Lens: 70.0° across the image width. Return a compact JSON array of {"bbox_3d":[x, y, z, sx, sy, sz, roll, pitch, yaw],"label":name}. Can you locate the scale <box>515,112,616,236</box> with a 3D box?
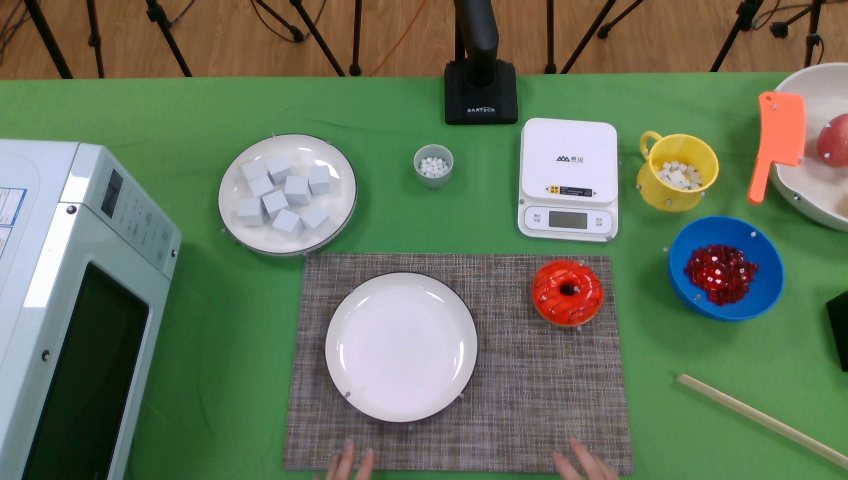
[{"bbox_3d":[0.219,-0.104,0.931,0.148,0.032,0.199,4,67,4],"label":"scale"}]

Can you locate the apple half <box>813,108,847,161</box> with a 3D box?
[{"bbox_3d":[0.613,-0.155,0.916,0.033,0.082,0.080,-7,66,-6],"label":"apple half"}]

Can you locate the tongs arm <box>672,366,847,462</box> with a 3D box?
[{"bbox_3d":[0.499,0.263,0.767,0.386,0.028,0.028,29,63,13],"label":"tongs arm"}]

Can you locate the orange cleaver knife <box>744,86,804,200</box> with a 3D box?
[{"bbox_3d":[0.512,-0.145,0.884,0.077,0.012,0.210,18,69,9],"label":"orange cleaver knife"}]

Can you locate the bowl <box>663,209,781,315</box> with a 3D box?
[{"bbox_3d":[0.398,0.040,0.840,0.151,0.077,0.150,0,67,1],"label":"bowl"}]

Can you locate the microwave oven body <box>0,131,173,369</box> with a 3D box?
[{"bbox_3d":[-0.536,0.120,0.719,0.326,0.262,0.438,3,67,2],"label":"microwave oven body"}]

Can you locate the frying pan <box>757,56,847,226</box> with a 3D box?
[{"bbox_3d":[0.689,-0.065,0.865,0.307,0.103,0.483,-25,60,-8],"label":"frying pan"}]

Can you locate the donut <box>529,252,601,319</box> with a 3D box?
[{"bbox_3d":[0.196,0.063,0.848,0.099,0.048,0.098,-1,67,3],"label":"donut"}]

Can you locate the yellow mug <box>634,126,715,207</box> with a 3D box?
[{"bbox_3d":[0.366,-0.121,0.916,0.100,0.064,0.130,-30,68,-11],"label":"yellow mug"}]

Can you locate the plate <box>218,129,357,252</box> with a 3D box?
[{"bbox_3d":[-0.205,-0.074,0.922,0.208,0.039,0.206,0,66,1],"label":"plate"}]

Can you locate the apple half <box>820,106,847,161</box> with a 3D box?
[{"bbox_3d":[0.651,-0.160,0.919,0.053,0.075,0.080,-7,63,-6],"label":"apple half"}]

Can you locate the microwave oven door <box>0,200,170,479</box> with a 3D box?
[{"bbox_3d":[-0.393,0.164,0.692,0.039,0.245,0.353,3,66,3],"label":"microwave oven door"}]

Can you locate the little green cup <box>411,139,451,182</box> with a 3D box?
[{"bbox_3d":[0.011,-0.121,0.939,0.061,0.039,0.061,-1,66,2],"label":"little green cup"}]

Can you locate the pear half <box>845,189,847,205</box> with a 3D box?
[{"bbox_3d":[0.651,-0.068,0.860,0.076,0.111,0.056,35,72,19],"label":"pear half"}]

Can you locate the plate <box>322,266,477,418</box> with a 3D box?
[{"bbox_3d":[-0.033,0.137,0.824,0.209,0.038,0.207,0,67,1],"label":"plate"}]

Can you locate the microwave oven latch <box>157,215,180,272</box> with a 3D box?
[{"bbox_3d":[-0.374,0.005,0.871,0.030,0.030,0.078,4,67,3],"label":"microwave oven latch"}]
